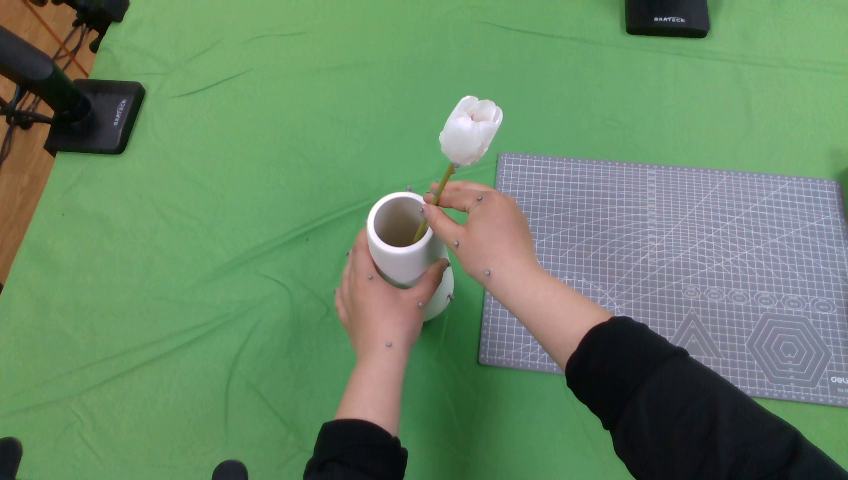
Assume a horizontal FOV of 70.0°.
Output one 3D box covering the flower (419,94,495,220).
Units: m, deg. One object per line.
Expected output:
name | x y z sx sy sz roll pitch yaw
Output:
flower | -0.007 -0.016 0.601 0.044 0.363 0.038 -25 72 -25

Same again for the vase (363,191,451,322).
vase | -0.019 0.022 0.674 0.098 0.201 0.097 0 66 1
